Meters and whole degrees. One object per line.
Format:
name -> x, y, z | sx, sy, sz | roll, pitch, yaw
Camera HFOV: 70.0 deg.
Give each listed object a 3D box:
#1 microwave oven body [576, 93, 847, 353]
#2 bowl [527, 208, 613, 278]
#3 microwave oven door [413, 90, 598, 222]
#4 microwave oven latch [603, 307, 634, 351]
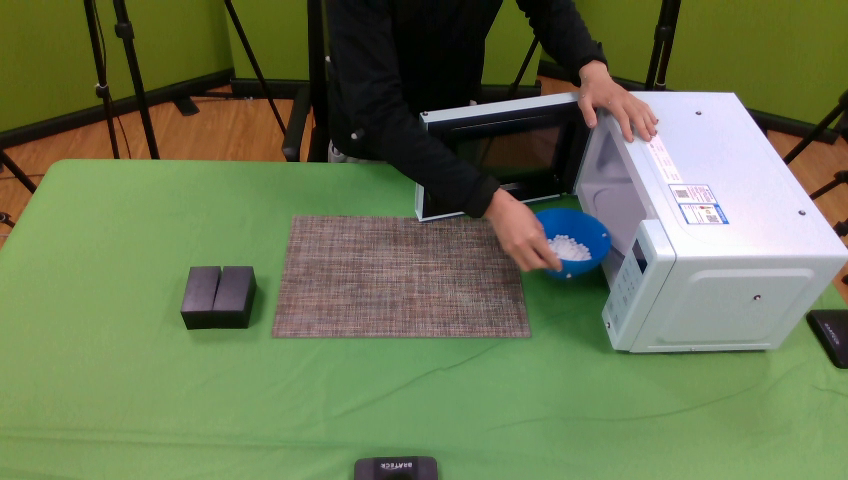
microwave oven body -> 0.475, -0.041, 1.109 | 0.326, 0.261, 0.438 | -1, 45, -4
bowl -> 0.257, 0.017, 1.097 | 0.151, 0.077, 0.150 | 2, 40, -1
microwave oven door -> 0.157, -0.165, 1.198 | 0.356, 0.245, 0.039 | -11, 47, -15
microwave oven latch -> 0.332, 0.153, 1.044 | 0.030, 0.029, 0.078 | 0, 45, -3
